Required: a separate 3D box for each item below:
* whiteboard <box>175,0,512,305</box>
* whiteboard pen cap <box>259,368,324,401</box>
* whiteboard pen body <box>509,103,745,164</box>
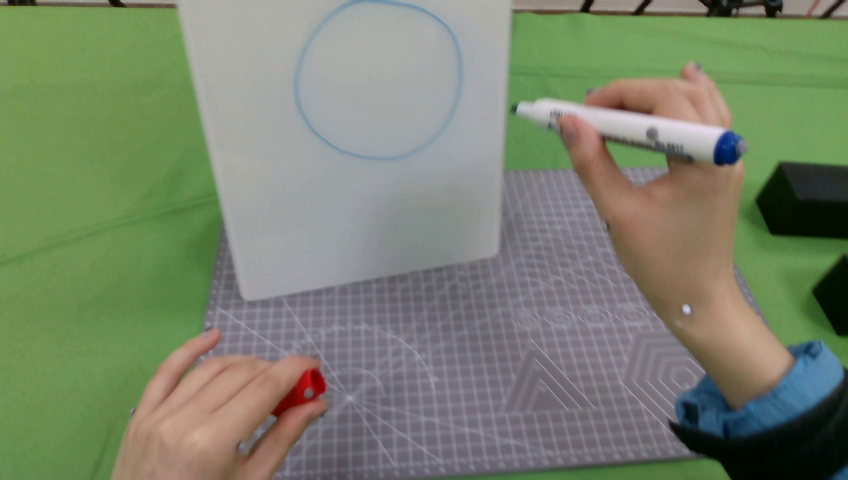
[{"bbox_3d":[-0.060,-0.131,0.476,0.218,0.308,0.142,-10,31,-12],"label":"whiteboard"},{"bbox_3d":[-0.073,0.080,0.335,0.032,0.017,0.017,-5,49,6],"label":"whiteboard pen cap"},{"bbox_3d":[0.091,-0.057,0.305,0.017,0.017,0.139,-29,31,-26],"label":"whiteboard pen body"}]
